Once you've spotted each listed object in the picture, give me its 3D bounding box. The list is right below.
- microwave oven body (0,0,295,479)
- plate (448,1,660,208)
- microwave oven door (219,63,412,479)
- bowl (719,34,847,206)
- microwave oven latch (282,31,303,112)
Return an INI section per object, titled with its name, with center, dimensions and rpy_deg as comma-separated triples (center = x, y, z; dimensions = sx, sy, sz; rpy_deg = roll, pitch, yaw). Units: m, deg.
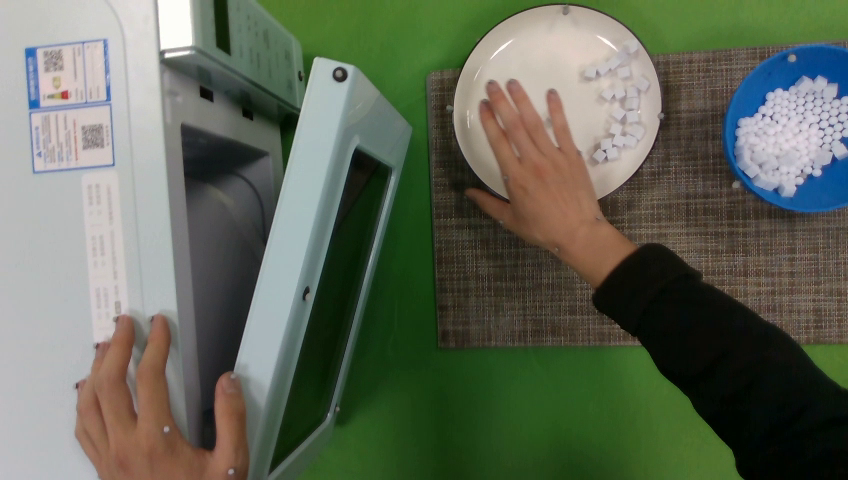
[microwave oven body]
center = -0.294, 0.011, 0.574
dimensions = 0.326, 0.260, 0.441
rpy_deg = -5, 92, 8
[plate]
center = 0.131, -0.135, 0.622
dimensions = 0.209, 0.038, 0.209
rpy_deg = 0, 92, 8
[microwave oven door]
center = -0.090, 0.046, 0.543
dimensions = 0.039, 0.244, 0.356
rpy_deg = 15, 94, 8
[bowl]
center = 0.349, -0.105, 0.573
dimensions = 0.151, 0.077, 0.151
rpy_deg = 0, 92, 8
[microwave oven latch]
center = -0.148, -0.179, 0.645
dimensions = 0.030, 0.029, 0.079
rpy_deg = -4, 92, 8
